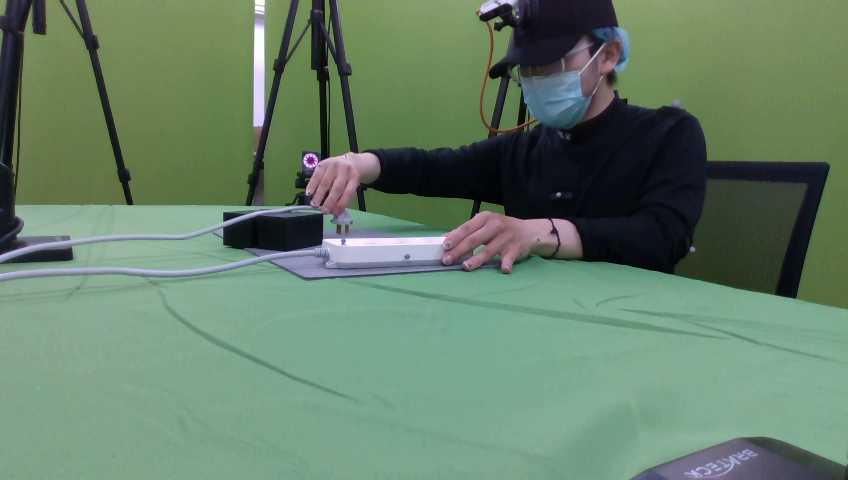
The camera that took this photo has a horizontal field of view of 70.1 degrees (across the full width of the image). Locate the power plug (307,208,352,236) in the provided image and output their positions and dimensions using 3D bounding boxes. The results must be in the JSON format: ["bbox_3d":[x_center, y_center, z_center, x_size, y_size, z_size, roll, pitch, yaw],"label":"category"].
[{"bbox_3d":[-0.161,-0.029,1.042,0.073,0.052,0.035,-9,13,-7],"label":"power plug"}]

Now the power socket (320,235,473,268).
[{"bbox_3d":[-0.033,0.013,0.824,0.228,0.032,0.072,-2,8,-30],"label":"power socket"}]
